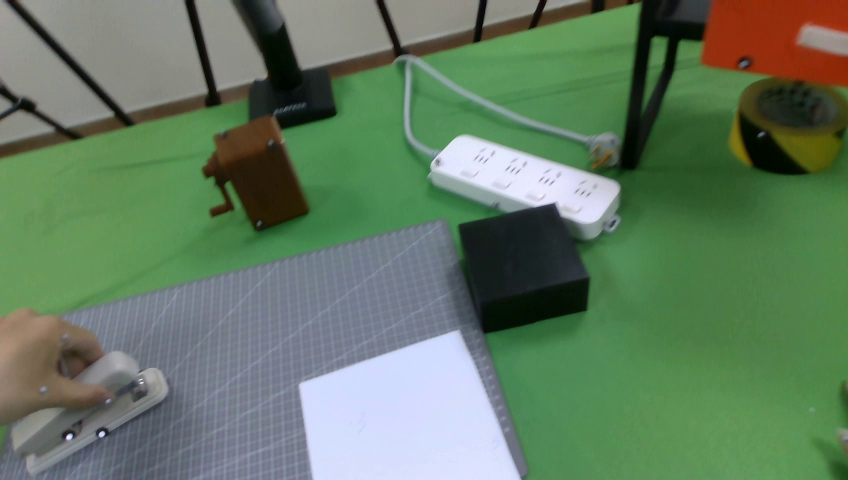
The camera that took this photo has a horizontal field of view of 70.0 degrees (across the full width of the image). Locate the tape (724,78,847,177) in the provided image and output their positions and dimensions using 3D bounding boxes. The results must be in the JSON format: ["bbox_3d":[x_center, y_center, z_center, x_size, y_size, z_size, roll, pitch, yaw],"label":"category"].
[{"bbox_3d":[0.396,-0.126,0.665,0.117,0.053,0.115,-5,48,6],"label":"tape"}]

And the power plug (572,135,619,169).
[{"bbox_3d":[0.194,-0.098,0.703,0.052,0.035,0.072,-38,14,-29],"label":"power plug"}]

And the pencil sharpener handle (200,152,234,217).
[{"bbox_3d":[-0.234,-0.059,0.665,0.031,0.068,0.035,-23,26,-10],"label":"pencil sharpener handle"}]

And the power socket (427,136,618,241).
[{"bbox_3d":[0.105,-0.061,0.673,0.225,0.033,0.072,23,55,29],"label":"power socket"}]

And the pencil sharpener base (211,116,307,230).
[{"bbox_3d":[-0.187,-0.073,0.688,0.077,0.108,0.060,-23,48,-10],"label":"pencil sharpener base"}]

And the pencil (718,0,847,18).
[{"bbox_3d":[0.324,-0.188,0.494,0.012,0.012,0.192,-30,37,-16],"label":"pencil"}]

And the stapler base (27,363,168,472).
[{"bbox_3d":[-0.300,0.153,0.547,0.130,0.025,0.041,-32,48,-13],"label":"stapler base"}]

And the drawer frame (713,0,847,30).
[{"bbox_3d":[0.386,-0.269,0.530,0.200,0.083,0.212,16,52,25],"label":"drawer frame"}]

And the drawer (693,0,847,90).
[{"bbox_3d":[0.343,-0.204,0.481,0.193,0.074,0.211,17,51,25],"label":"drawer"}]

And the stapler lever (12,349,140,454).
[{"bbox_3d":[-0.305,0.138,0.528,0.118,0.040,0.026,-31,48,-14],"label":"stapler lever"}]
